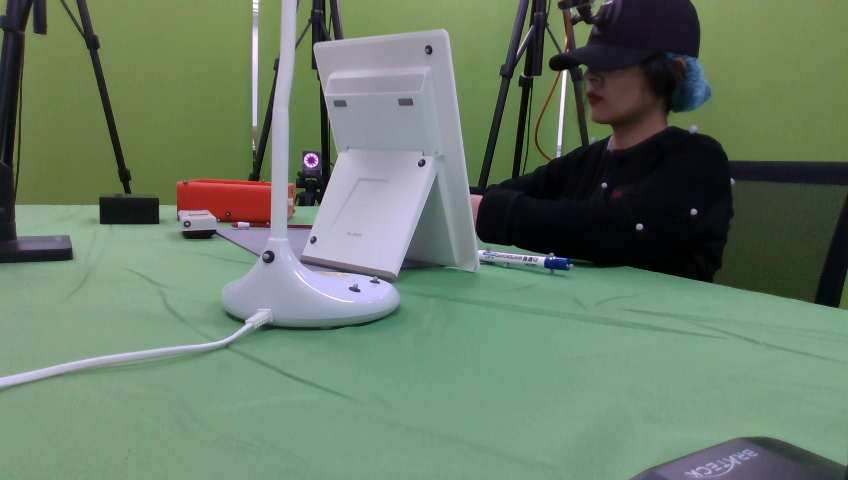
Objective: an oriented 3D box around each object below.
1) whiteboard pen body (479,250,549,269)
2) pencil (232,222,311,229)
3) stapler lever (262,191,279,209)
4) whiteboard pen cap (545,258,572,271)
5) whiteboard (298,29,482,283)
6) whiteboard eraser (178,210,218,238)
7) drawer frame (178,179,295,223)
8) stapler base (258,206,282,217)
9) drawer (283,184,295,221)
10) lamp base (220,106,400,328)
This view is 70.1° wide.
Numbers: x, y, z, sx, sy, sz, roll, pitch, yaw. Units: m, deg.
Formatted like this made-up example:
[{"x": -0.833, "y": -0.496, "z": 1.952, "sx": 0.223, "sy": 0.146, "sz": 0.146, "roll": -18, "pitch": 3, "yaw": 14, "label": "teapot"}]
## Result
[{"x": 0.130, "y": 0.027, "z": 0.827, "sx": 0.140, "sy": 0.017, "sz": 0.017, "roll": 6, "pitch": 8, "yaw": 39, "label": "whiteboard pen body"}, {"x": -0.261, "y": -0.025, "z": 1.140, "sx": 0.195, "sy": 0.012, "sz": 0.012, "roll": 2, "pitch": 7, "yaw": -26, "label": "pencil"}, {"x": -0.329, "y": -0.086, "z": 1.306, "sx": 0.027, "sy": 0.040, "sz": 0.118, "roll": 9, "pitch": 3, "yaw": -9, "label": "stapler lever"}, {"x": 0.175, "y": 0.032, "z": 0.790, "sx": 0.033, "sy": 0.018, "sz": 0.018, "roll": 3, "pitch": 7, "yaw": 37, "label": "whiteboard pen cap"}, {"x": -0.075, "y": -0.082, "z": 0.741, "sx": 0.216, "sy": 0.305, "sz": 0.144, "roll": 9, "pitch": 29, "yaw": 37, "label": "whiteboard"}, {"x": -0.380, "y": -0.027, "z": 1.014, "sx": 0.056, "sy": 0.042, "sz": 0.112, "roll": 0, "pitch": 8, "yaw": -25, "label": "whiteboard eraser"}, {"x": -0.397, "y": -0.088, "z": 1.315, "sx": 0.214, "sy": 0.082, "sz": 0.201, "roll": 1, "pitch": 8, "yaw": -7, "label": "drawer frame"}, {"x": -0.331, "y": -0.065, "z": 1.305, "sx": 0.041, "sy": 0.024, "sz": 0.130, "roll": 9, "pitch": -1, "yaw": -9, "label": "stapler base"}, {"x": -0.394, "y": -0.087, "z": 1.317, "sx": 0.212, "sy": 0.073, "sz": 0.194, "roll": 1, "pitch": 8, "yaw": -7, "label": "drawer"}, {"x": -0.101, "y": -0.023, "z": 0.531, "sx": 0.160, "sy": 0.180, "sz": 0.179, "roll": 4, "pitch": 10, "yaw": 10, "label": "lamp base"}]
